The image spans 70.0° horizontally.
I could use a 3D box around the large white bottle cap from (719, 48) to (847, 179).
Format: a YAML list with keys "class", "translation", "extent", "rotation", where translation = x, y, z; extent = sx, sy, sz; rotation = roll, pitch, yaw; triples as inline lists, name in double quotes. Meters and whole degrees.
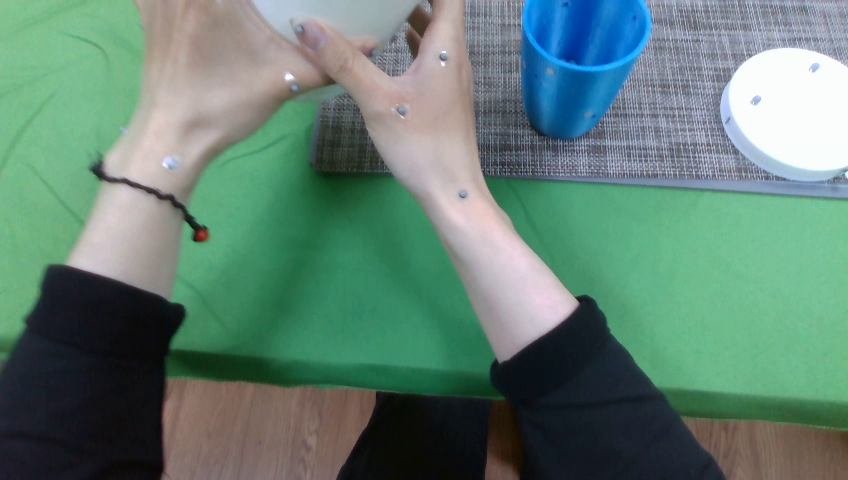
- class: "large white bottle cap"
  translation: [0.294, -0.101, 0.476]
  extent: [0.115, 0.018, 0.114]
  rotation: [0, 67, 1]

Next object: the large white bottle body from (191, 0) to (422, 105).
- class: "large white bottle body"
  translation: [-0.058, -0.175, 0.352]
  extent: [0.131, 0.184, 0.130]
  rotation: [8, 73, -26]

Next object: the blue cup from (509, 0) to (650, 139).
- class: "blue cup"
  translation: [0.109, -0.126, 0.446]
  extent: [0.092, 0.101, 0.092]
  rotation: [-1, 66, 3]
